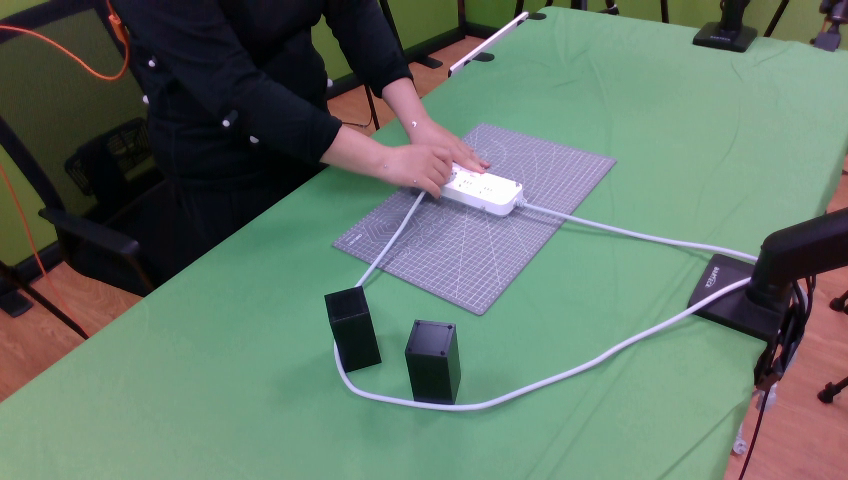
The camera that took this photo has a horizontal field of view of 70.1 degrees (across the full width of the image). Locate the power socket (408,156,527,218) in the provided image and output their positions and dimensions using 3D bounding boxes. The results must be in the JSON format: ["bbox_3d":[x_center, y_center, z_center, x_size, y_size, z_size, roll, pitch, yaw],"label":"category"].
[{"bbox_3d":[0.070,-0.095,1.060,0.225,0.033,0.072,22,49,30],"label":"power socket"}]

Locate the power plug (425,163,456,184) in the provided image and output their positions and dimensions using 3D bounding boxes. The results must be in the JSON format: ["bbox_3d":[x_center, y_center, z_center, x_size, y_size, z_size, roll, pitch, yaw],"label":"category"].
[{"bbox_3d":[0.023,-0.105,1.048,0.073,0.053,0.035,-33,47,-23],"label":"power plug"}]
